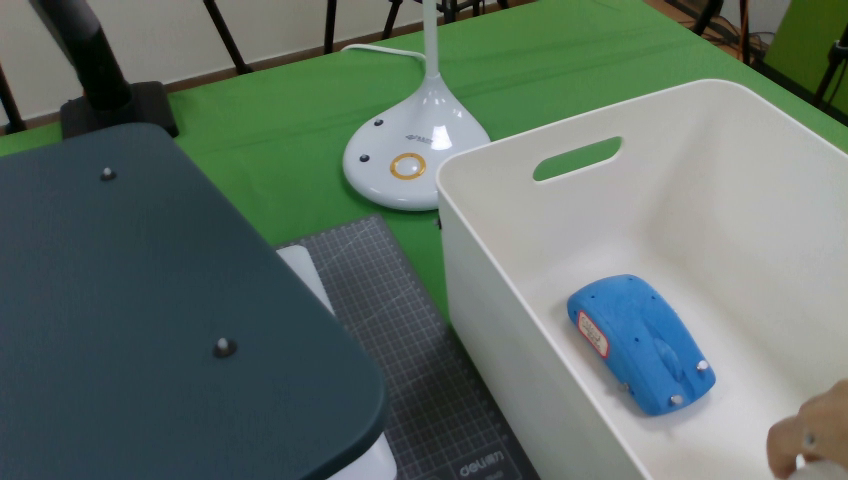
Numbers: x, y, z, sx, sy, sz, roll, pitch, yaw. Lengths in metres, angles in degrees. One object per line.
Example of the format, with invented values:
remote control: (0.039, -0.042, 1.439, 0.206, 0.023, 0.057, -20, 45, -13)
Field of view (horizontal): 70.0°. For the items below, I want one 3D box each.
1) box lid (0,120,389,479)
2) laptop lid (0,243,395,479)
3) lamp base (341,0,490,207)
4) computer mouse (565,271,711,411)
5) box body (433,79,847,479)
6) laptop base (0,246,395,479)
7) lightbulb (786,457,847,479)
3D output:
box lid: (-0.217, 0.036, 0.320, 0.264, 0.015, 0.367, -25, 44, -28)
laptop lid: (-0.222, 0.132, 0.420, 0.357, 0.013, 0.239, -17, 50, -14)
lamp base: (-0.008, -0.154, 0.592, 0.160, 0.182, 0.177, 6, 44, 8)
computer mouse: (0.161, 0.071, 0.460, 0.063, 0.041, 0.116, -18, 53, -18)
box body: (0.188, 0.079, 0.374, 0.254, 0.162, 0.360, -19, 48, -16)
laptop base: (-0.223, 0.138, 0.430, 0.355, 0.023, 0.233, -19, 52, -16)
lightbulb: (0.251, 0.171, 0.339, 0.107, 0.059, 0.059, 46, 59, 4)
